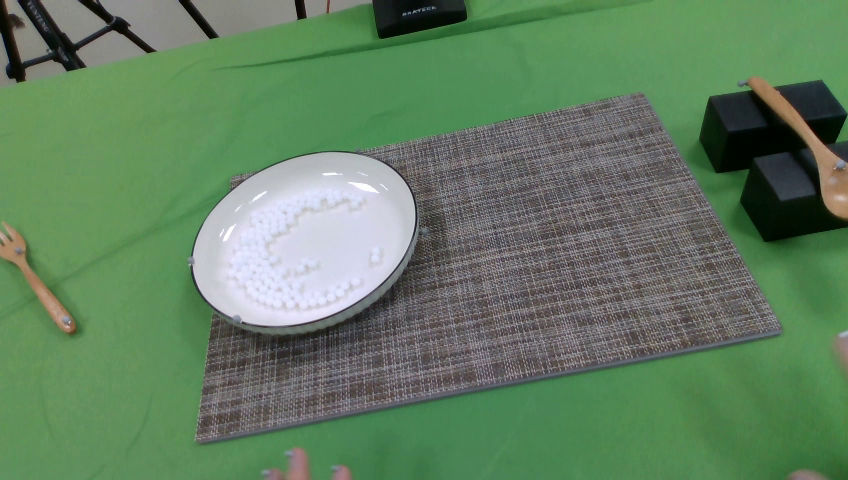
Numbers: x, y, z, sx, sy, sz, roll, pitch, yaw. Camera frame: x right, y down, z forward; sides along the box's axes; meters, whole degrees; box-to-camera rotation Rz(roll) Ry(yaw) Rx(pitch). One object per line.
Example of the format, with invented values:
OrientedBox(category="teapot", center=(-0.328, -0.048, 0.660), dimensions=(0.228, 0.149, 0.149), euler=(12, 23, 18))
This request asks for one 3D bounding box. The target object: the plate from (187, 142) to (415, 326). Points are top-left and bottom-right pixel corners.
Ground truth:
OrientedBox(category="plate", center=(-0.108, -0.007, 0.556), dimensions=(0.207, 0.039, 0.205), euler=(-5, 51, 7))

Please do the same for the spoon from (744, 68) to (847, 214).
OrientedBox(category="spoon", center=(0.306, -0.089, 0.486), dimensions=(0.041, 0.022, 0.191), euler=(-26, 47, 20))

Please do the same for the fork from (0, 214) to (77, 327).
OrientedBox(category="fork", center=(-0.393, 0.027, 0.603), dimensions=(0.028, 0.019, 0.205), euler=(-38, 52, -27))
